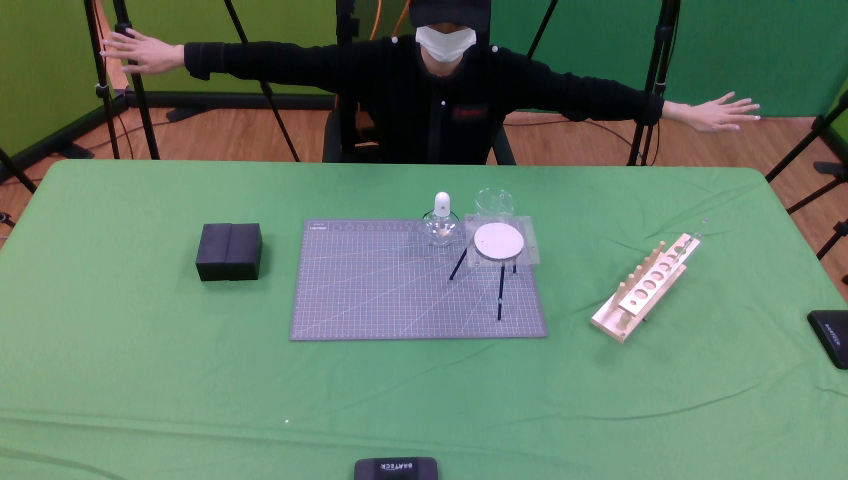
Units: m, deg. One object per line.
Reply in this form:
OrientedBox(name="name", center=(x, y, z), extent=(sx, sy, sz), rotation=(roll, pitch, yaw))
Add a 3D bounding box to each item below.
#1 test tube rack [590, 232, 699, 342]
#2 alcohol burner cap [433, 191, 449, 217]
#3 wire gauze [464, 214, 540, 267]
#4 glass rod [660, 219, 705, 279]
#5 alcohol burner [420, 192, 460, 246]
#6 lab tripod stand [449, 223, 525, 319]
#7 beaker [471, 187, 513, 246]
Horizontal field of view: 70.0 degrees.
OrientedBox(name="test tube rack", center=(0.407, 0.074, 1.112), extent=(0.066, 0.085, 0.242), rotation=(35, 53, 26))
OrientedBox(name="alcohol burner cap", center=(0.033, -0.070, 1.150), extent=(0.034, 0.048, 0.033), rotation=(0, 44, 0))
OrientedBox(name="wire gauze", center=(0.131, -0.002, 1.034), extent=(0.121, 0.011, 0.124), rotation=(1, 45, -2))
OrientedBox(name="glass rod", center=(0.444, 0.032, 1.063), extent=(0.008, 0.200, 0.008), rotation=(5, 49, -6))
OrientedBox(name="alcohol burner", center=(0.032, -0.046, 1.176), extent=(0.078, 0.120, 0.077), rotation=(2, 44, -1))
OrientedBox(name="lab tripod stand", center=(0.120, 0.046, 1.080), extent=(0.148, 0.132, 0.147), rotation=(1, 47, -1))
OrientedBox(name="beaker", center=(0.134, -0.042, 1.190), extent=(0.083, 0.101, 0.074), rotation=(34, 53, 25))
